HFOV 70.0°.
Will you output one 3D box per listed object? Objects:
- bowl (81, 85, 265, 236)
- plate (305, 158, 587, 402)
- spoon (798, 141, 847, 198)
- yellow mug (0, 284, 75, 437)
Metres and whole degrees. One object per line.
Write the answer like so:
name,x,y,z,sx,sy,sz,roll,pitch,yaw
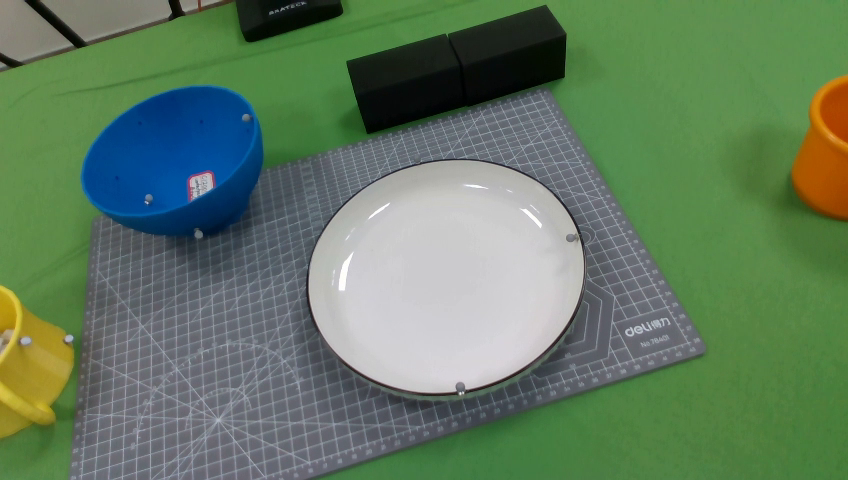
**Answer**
bowl,-0.203,-0.056,0.529,0.151,0.077,0.150,-5,54,7
plate,0.016,0.026,0.457,0.209,0.038,0.207,-4,54,6
spoon,0.356,-0.090,0.416,0.022,0.194,0.041,16,49,-34
yellow mug,-0.319,0.097,0.450,0.130,0.064,0.099,27,63,25
